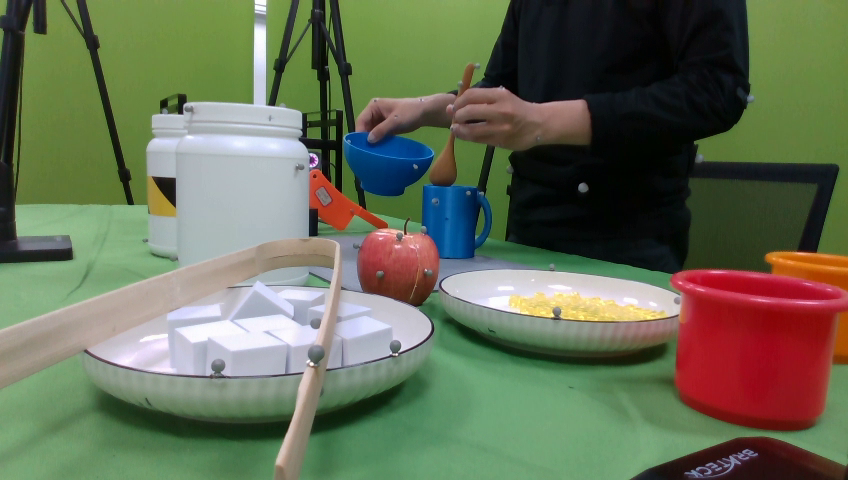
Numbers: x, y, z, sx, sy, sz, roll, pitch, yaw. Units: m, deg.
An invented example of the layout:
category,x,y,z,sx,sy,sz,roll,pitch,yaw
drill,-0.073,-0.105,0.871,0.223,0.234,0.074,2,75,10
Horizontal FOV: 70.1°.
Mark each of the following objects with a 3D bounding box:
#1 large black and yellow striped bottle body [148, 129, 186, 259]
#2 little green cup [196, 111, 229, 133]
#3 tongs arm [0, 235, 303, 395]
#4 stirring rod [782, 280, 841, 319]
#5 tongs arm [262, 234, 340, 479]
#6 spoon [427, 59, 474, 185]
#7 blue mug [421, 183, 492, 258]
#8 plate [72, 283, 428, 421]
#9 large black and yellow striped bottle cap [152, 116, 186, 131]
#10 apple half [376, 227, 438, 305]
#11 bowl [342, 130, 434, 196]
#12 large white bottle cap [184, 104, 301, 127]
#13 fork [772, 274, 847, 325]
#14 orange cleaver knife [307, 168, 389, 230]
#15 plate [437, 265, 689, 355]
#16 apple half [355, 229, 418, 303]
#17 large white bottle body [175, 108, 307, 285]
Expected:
category,x,y,z,sx,sy,sz,roll,pitch,yaw
large black and yellow striped bottle body,-0.310,-0.073,0.838,0.131,0.184,0.130,2,8,0
little green cup,-0.403,-0.225,1.154,0.061,0.038,0.061,3,8,0
tongs arm,-0.157,0.038,0.351,0.028,0.028,0.388,-3,9,12
stirring rod,0.344,0.019,0.460,0.014,0.006,0.176,-13,-27,-30
tongs arm,-0.074,0.039,0.349,0.051,0.026,0.384,-2,10,-3
spoon,0.039,-0.158,0.837,0.041,0.193,0.021,13,31,-1
blue mug,0.052,-0.032,0.912,0.117,0.106,0.082,-1,8,-24
plate,-0.102,0.066,0.381,0.208,0.039,0.207,2,7,0
large black and yellow striped bottle cap,-0.309,-0.155,0.826,0.115,0.019,0.115,3,6,0
apple half,-0.017,0.025,0.593,0.080,0.074,0.053,4,2,43
bowl,-0.064,-0.122,0.994,0.151,0.077,0.151,9,22,-4
large white bottle cap,-0.184,-0.126,0.618,0.115,0.018,0.115,2,8,0
fork,0.332,0.018,0.443,0.028,0.018,0.207,-1,-36,-15
orange cleaver knife,-0.158,-0.060,1.166,0.212,0.077,0.012,34,-12,-32
plate,0.114,0.057,0.517,0.209,0.038,0.209,3,8,0
apple half,-0.043,0.027,0.564,0.081,0.081,0.033,9,5,42
large white bottle body,-0.188,-0.042,0.630,0.131,0.184,0.130,2,8,0
